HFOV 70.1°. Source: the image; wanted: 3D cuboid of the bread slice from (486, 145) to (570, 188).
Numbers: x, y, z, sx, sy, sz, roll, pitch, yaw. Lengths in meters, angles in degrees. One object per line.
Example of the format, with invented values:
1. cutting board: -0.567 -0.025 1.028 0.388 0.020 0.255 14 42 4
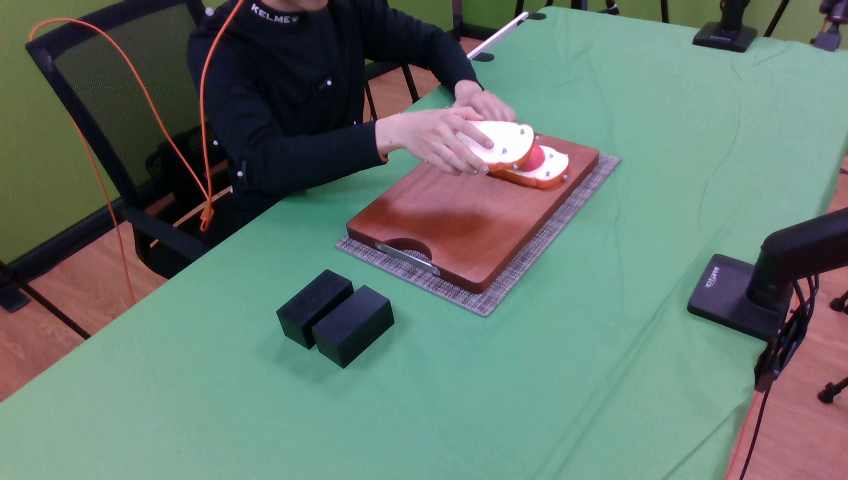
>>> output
1. bread slice: 0.190 -0.135 1.059 0.130 0.019 0.105 22 50 31

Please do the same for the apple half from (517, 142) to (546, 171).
1. apple half: 0.174 -0.155 1.048 0.081 0.033 0.081 -5 42 5

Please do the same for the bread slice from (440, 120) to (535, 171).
1. bread slice: 0.103 -0.148 0.938 0.133 0.018 0.107 5 49 21
